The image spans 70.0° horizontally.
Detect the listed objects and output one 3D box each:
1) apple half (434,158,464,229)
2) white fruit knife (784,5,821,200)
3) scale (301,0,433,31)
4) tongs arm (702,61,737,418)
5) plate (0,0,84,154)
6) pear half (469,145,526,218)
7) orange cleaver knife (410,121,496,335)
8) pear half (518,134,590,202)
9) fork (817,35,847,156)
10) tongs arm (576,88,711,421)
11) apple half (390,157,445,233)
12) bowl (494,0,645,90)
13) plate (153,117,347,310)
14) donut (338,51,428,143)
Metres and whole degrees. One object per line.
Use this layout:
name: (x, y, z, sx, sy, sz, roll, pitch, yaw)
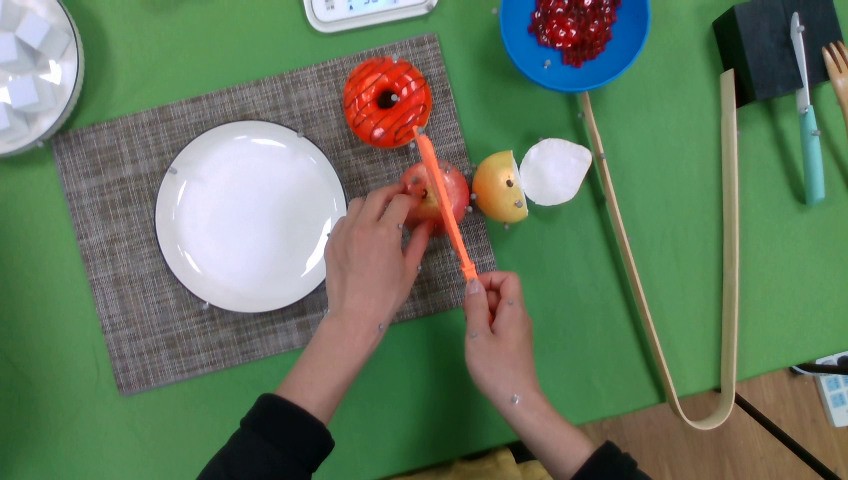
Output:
apple half: (0.024, -0.052, 0.640, 0.033, 0.081, 0.081, -15, 90, -6)
white fruit knife: (0.395, -0.139, 0.635, 0.016, 0.027, 0.208, -17, 105, 1)
scale: (-0.075, -0.341, 0.661, 0.148, 0.031, 0.201, -11, 92, 2)
tongs arm: (0.325, 0.001, 0.665, 0.028, 0.027, 0.387, -1, 92, -6)
plate: (-0.473, -0.195, 0.667, 0.208, 0.039, 0.207, 0, 91, 1)
pear half: (0.074, -0.057, 0.626, 0.056, 0.110, 0.076, -21, 87, 9)
orange cleaver knife: (0.027, -0.011, 0.575, 0.012, 0.077, 0.212, -21, 103, -1)
pear half: (0.144, -0.080, 0.652, 0.088, 0.031, 0.070, -25, 86, 36)
fork: (0.453, -0.115, 0.642, 0.028, 0.018, 0.208, -25, 106, -1)
tongs arm: (0.240, 0.016, 0.663, 0.051, 0.026, 0.385, -15, 92, -3)
apple half: (-0.009, -0.045, 0.643, 0.053, 0.074, 0.081, -11, 94, 5)
bowl: (0.145, -0.227, 0.638, 0.151, 0.077, 0.151, 0, 92, 1)
plate: (-0.185, -0.028, 0.663, 0.209, 0.038, 0.209, 0, 91, 1)
donut: (-0.045, -0.154, 0.655, 0.099, 0.048, 0.099, 0, 92, 3)
